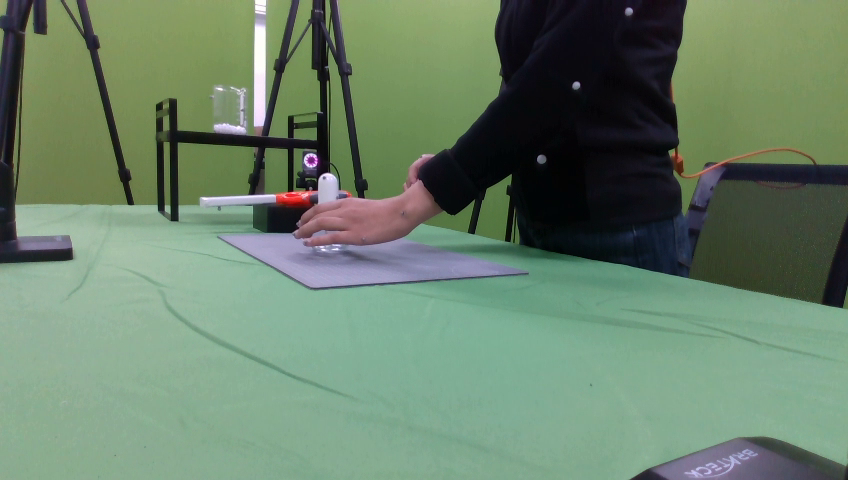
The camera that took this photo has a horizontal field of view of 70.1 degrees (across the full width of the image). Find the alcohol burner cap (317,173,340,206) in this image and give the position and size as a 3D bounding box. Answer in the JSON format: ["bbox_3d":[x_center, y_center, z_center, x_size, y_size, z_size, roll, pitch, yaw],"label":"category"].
[{"bbox_3d":[-0.141,-0.074,0.887,0.034,0.048,0.034,-3,6,1],"label":"alcohol burner cap"}]

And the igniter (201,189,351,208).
[{"bbox_3d":[-0.272,-0.078,1.138,0.278,0.025,0.057,-5,11,-28],"label":"igniter"}]

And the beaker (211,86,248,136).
[{"bbox_3d":[-0.413,-0.274,1.297,0.074,0.100,0.083,-5,11,-44],"label":"beaker"}]

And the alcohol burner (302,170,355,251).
[{"bbox_3d":[-0.142,-0.044,0.893,0.078,0.119,0.078,-1,7,0],"label":"alcohol burner"}]
